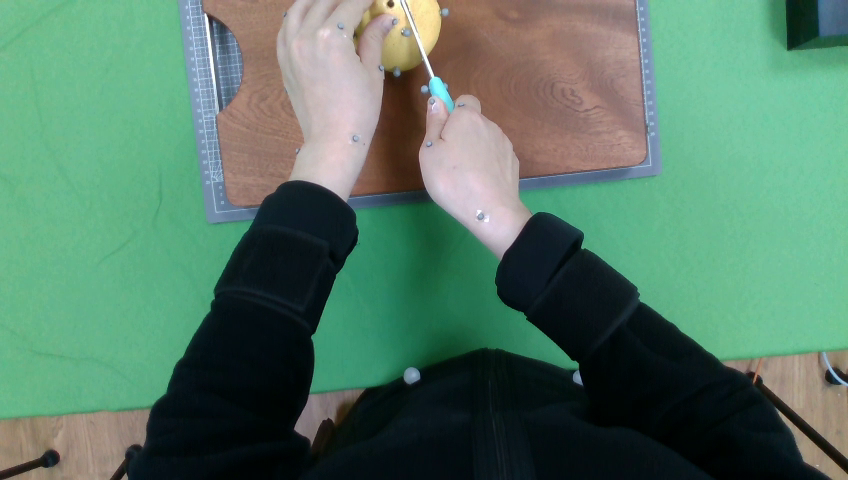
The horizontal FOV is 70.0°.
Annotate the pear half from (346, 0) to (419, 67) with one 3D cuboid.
[{"bbox_3d":[-0.039,-0.184,0.510,0.056,0.110,0.076,-30,87,4],"label":"pear half"}]

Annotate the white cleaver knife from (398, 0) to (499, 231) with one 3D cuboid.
[{"bbox_3d":[0.005,-0.143,0.508,0.021,0.066,0.286,-20,90,4],"label":"white cleaver knife"}]

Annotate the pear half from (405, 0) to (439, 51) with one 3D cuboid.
[{"bbox_3d":[-0.005,-0.200,0.520,0.031,0.088,0.070,-29,88,-2],"label":"pear half"}]
